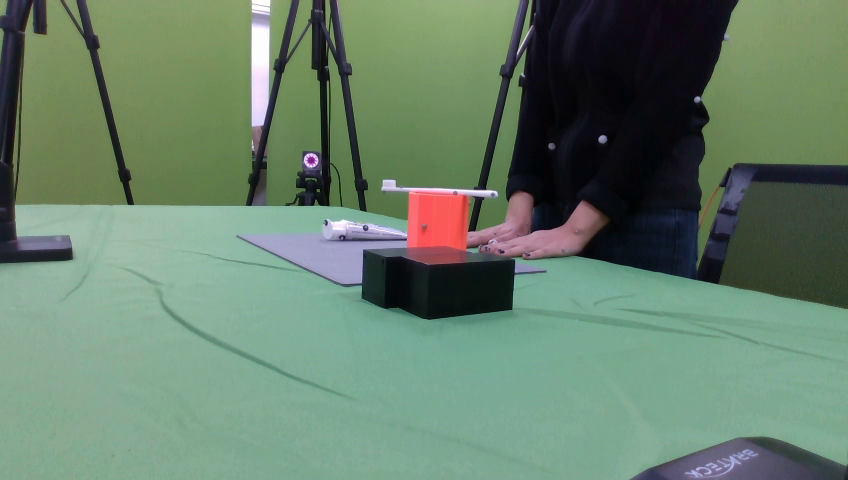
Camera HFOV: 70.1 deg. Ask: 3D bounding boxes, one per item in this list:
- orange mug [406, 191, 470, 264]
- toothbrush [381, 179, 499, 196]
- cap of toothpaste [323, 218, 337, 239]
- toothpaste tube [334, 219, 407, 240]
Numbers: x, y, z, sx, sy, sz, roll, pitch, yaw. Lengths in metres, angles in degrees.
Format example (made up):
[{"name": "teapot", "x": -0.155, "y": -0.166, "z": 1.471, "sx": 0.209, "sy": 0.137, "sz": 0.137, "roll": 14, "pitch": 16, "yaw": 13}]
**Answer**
[{"name": "orange mug", "x": 0.027, "y": -0.023, "z": 0.866, "sx": 0.083, "sy": 0.101, "sz": 0.126, "roll": 6, "pitch": 12, "yaw": 24}, {"name": "toothbrush", "x": 0.019, "y": -0.073, "z": 0.842, "sx": 0.181, "sy": 0.016, "sz": 0.014, "roll": 6, "pitch": 2, "yaw": 27}, {"name": "cap of toothpaste", "x": -0.157, "y": -0.020, "z": 1.013, "sx": 0.011, "sy": 0.037, "sz": 0.037, "roll": -8, "pitch": 12, "yaw": -40}, {"name": "toothpaste tube", "x": -0.084, "y": -0.015, "z": 1.052, "sx": 0.166, "sy": 0.034, "sz": 0.055, "roll": 3, "pitch": 14, "yaw": -29}]
